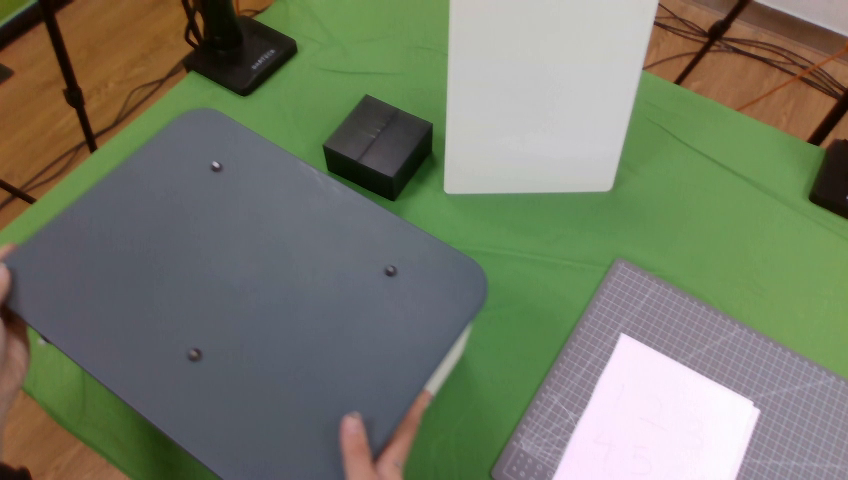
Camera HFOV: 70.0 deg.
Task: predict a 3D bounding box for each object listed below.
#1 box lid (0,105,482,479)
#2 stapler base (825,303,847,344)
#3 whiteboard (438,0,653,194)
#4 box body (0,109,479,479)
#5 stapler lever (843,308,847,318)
[{"bbox_3d":[-0.162,0.033,0.528,0.369,0.015,0.262,31,63,14],"label":"box lid"},{"bbox_3d":[0.502,0.124,0.657,0.041,0.024,0.129,-25,64,-16],"label":"stapler base"},{"bbox_3d":[0.126,-0.223,0.727,0.217,0.308,0.142,-1,40,-1],"label":"whiteboard"},{"bbox_3d":[-0.162,0.072,0.592,0.362,0.161,0.253,30,63,15],"label":"box body"},{"bbox_3d":[0.501,0.109,0.634,0.027,0.040,0.117,-25,63,-16],"label":"stapler lever"}]
